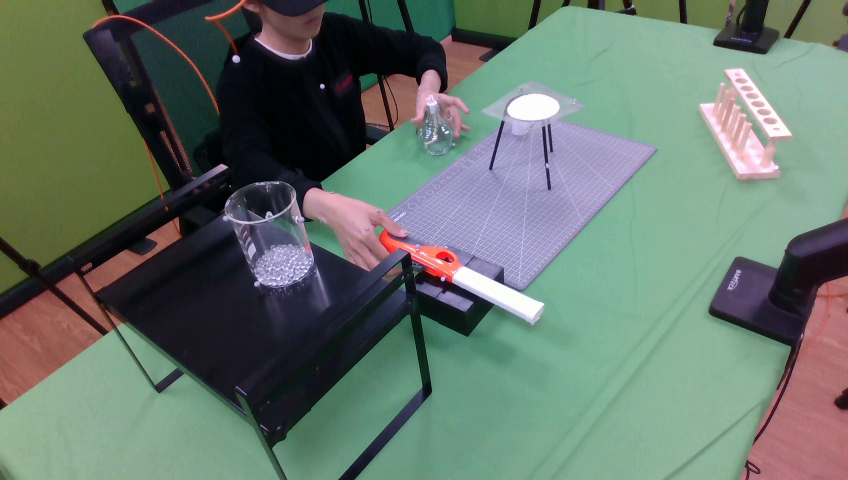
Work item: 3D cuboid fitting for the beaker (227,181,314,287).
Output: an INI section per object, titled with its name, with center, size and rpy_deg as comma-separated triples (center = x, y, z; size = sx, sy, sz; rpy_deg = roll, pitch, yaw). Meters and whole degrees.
[beaker]
center = -0.166, -0.006, 0.670
size = 0.074, 0.101, 0.083
rpy_deg = -8, 40, 0

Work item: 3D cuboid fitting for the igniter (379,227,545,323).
[igniter]
center = 0.041, 0.042, 0.844
size = 0.274, 0.025, 0.057
rpy_deg = 25, 47, 29

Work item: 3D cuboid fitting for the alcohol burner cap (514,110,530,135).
[alcohol burner cap]
center = 0.194, -0.235, 1.200
size = 0.034, 0.048, 0.033
rpy_deg = -5, 42, 5

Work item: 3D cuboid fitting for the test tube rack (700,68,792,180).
[test tube rack]
center = 0.572, -0.215, 1.090
size = 0.066, 0.085, 0.241
rpy_deg = -3, 41, 7

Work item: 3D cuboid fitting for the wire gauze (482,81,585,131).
[wire gauze]
center = 0.183, -0.224, 1.015
size = 0.125, 0.011, 0.120
rpy_deg = -32, 46, -23

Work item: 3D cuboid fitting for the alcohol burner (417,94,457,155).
[alcohol burner]
center = 0.023, -0.227, 1.166
size = 0.078, 0.119, 0.077
rpy_deg = -4, 39, 4

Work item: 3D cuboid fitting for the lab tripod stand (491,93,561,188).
[lab tripod stand]
center = 0.189, -0.180, 1.066
size = 0.148, 0.132, 0.147
rpy_deg = -5, 42, 5
